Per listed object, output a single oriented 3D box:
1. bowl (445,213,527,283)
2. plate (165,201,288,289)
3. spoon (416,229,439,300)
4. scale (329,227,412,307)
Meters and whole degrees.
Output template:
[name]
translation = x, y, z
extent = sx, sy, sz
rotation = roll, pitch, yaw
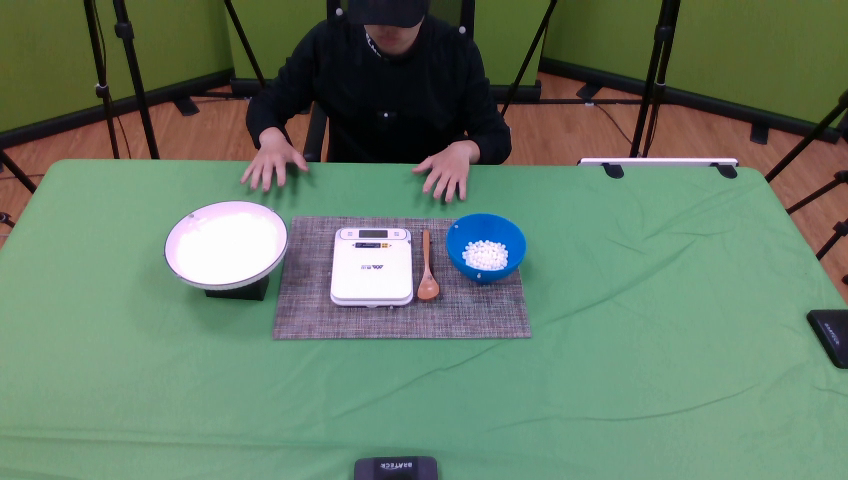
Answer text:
[bowl]
translation = 0.112, 0.027, 1.136
extent = 0.151, 0.077, 0.150
rotation = 2, 46, -2
[plate]
translation = -0.347, 0.011, 1.082
extent = 0.209, 0.038, 0.208
rotation = 2, 46, -2
[spoon]
translation = 0.005, 0.043, 1.152
extent = 0.041, 0.022, 0.192
rotation = -9, 46, 8
[scale]
translation = -0.099, 0.042, 1.139
extent = 0.149, 0.032, 0.199
rotation = 1, 46, -4
